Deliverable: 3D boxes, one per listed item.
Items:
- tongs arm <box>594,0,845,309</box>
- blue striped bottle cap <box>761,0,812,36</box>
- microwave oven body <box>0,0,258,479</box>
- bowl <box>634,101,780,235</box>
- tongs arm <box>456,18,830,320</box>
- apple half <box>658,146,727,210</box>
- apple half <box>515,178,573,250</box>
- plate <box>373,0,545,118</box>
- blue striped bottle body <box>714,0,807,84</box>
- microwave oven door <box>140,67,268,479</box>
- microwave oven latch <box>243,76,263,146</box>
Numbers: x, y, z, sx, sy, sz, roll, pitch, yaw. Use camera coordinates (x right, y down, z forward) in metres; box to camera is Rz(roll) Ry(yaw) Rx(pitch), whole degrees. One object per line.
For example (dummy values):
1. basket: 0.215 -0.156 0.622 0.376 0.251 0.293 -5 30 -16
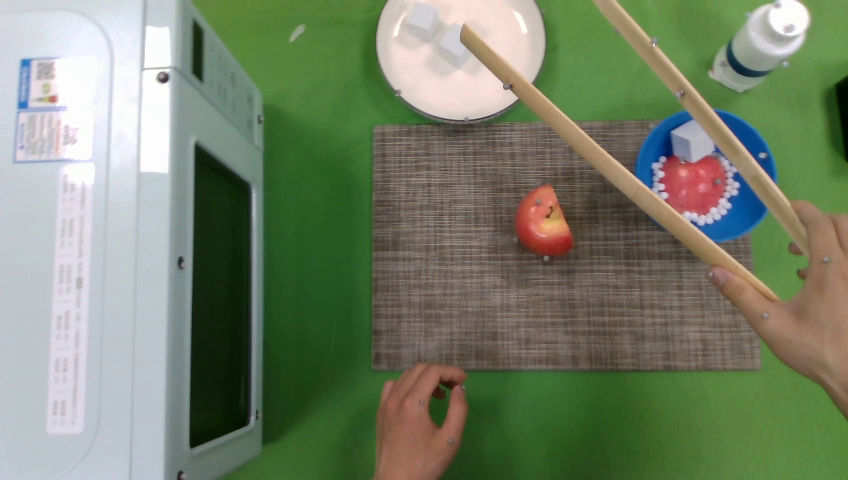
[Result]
1. tongs arm: 0.226 -0.108 0.527 0.051 0.027 0.382 -31 74 -12
2. blue striped bottle cap: 0.384 -0.240 0.641 0.044 0.020 0.044 0 85 2
3. microwave oven body: -0.356 0.012 0.613 0.326 0.261 0.440 -2 83 1
4. bowl: 0.307 -0.073 0.690 0.151 0.077 0.151 0 82 3
5. tongs arm: 0.166 -0.067 0.513 0.028 0.028 0.385 -41 76 -19
6. apple half: 0.309 -0.073 0.687 0.081 0.033 0.081 -1 81 5
7. apple half: 0.132 -0.024 0.693 0.053 0.075 0.080 -21 85 3
8. plate: 0.043 -0.248 0.750 0.207 0.039 0.207 0 82 2
9. blue striped bottle body: 0.386 -0.231 0.691 0.063 0.121 0.063 0 81 3
10. microwave oven door: -0.208 0.047 0.598 0.039 0.244 0.354 -3 82 2
11. microwave oven latch: -0.209 -0.154 0.728 0.030 0.029 0.079 -3 83 1
